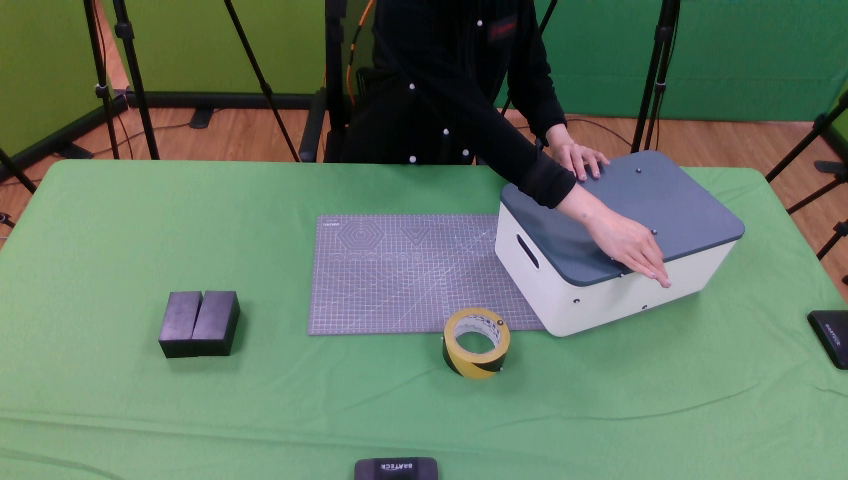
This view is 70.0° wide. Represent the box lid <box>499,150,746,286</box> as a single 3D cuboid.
[{"bbox_3d":[0.342,-0.053,1.061,0.372,0.015,0.261,-15,46,-19],"label":"box lid"}]

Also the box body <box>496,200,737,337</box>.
[{"bbox_3d":[0.340,0.004,1.118,0.364,0.161,0.252,-15,49,-18],"label":"box body"}]

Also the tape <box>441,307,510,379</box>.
[{"bbox_3d":[0.087,0.172,1.014,0.117,0.053,0.116,2,48,-2],"label":"tape"}]
